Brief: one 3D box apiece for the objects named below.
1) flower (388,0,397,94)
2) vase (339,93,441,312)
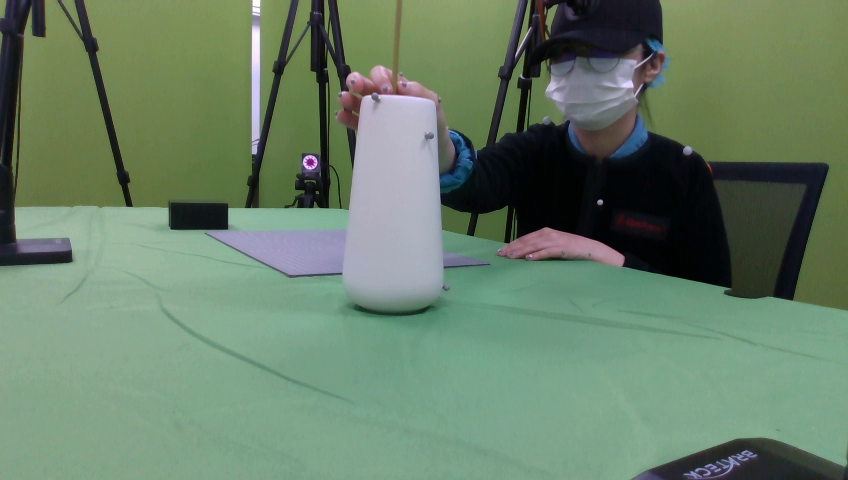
[{"bbox_3d":[-0.030,-0.145,0.569,0.038,0.361,0.044,-7,17,-29],"label":"flower"},{"bbox_3d":[-0.032,-0.035,0.577,0.098,0.200,0.098,0,7,0],"label":"vase"}]
